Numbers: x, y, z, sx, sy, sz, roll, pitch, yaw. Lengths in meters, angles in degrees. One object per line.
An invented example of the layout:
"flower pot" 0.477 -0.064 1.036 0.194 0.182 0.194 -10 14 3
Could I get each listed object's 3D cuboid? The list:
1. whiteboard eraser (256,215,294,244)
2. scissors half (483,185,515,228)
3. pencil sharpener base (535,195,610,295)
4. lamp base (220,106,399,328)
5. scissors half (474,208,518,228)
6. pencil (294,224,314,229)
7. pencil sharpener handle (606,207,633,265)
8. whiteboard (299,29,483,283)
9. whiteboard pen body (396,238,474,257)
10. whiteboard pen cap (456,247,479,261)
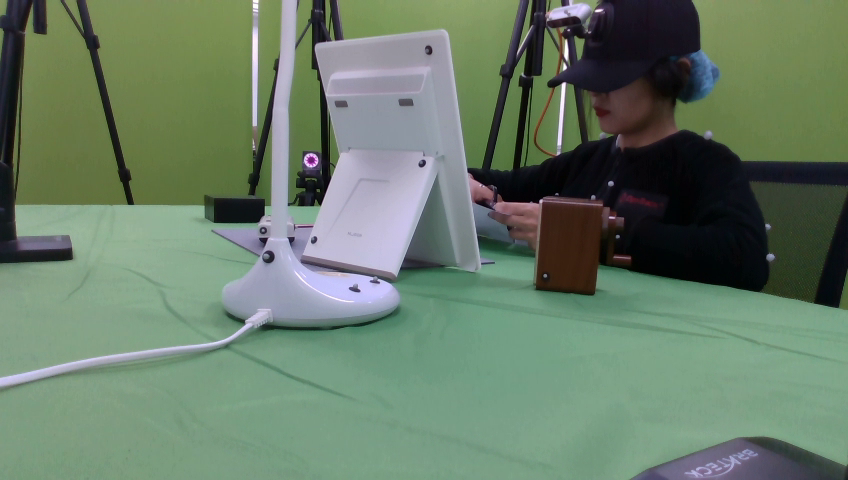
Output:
"whiteboard eraser" -0.232 -0.016 0.951 0.056 0.042 0.112 2 7 -12
"scissors half" 0.139 -0.061 1.111 0.013 0.040 0.174 16 23 -18
"pencil sharpener base" 0.172 0.005 0.695 0.076 0.107 0.061 5 7 16
"lamp base" -0.102 -0.023 0.531 0.160 0.180 0.179 4 10 10
"scissors half" 0.131 -0.041 1.113 0.013 0.040 0.174 21 -6 -19
"pencil" -0.220 -0.028 1.210 0.195 0.012 0.012 -5 10 -34
"pencil sharpener handle" 0.223 -0.004 0.683 0.030 0.068 0.036 5 21 16
"whiteboard" -0.074 -0.082 0.742 0.216 0.305 0.144 9 30 38
"whiteboard pen body" 0.014 0.012 0.886 0.140 0.017 0.017 9 10 38
"whiteboard pen cap" 0.060 0.020 0.851 0.033 0.018 0.018 10 10 37
